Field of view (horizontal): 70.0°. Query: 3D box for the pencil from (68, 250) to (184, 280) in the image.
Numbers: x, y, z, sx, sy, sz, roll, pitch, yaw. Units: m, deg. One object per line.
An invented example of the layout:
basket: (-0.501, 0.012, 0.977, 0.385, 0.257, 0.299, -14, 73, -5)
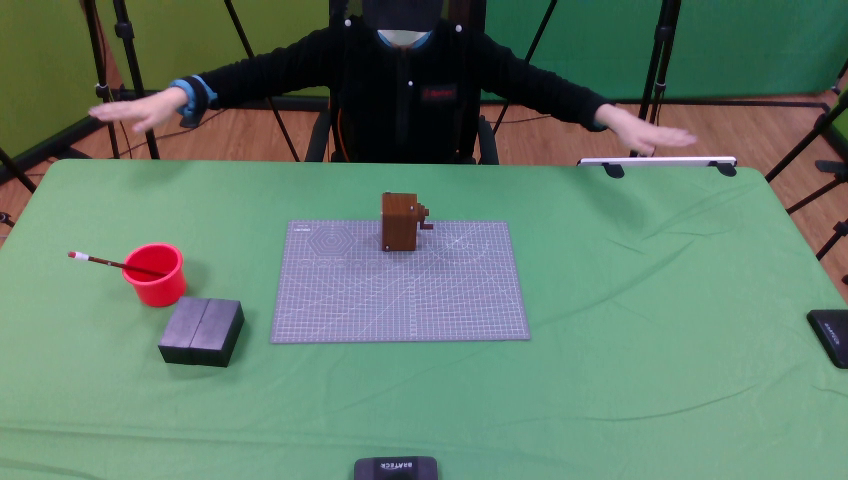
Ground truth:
pencil: (-0.498, 0.046, 1.026, 0.195, 0.012, 0.012, 21, 29, -45)

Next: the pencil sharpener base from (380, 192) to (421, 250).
pencil sharpener base: (-0.046, -0.035, 1.163, 0.077, 0.107, 0.061, 0, 46, -4)

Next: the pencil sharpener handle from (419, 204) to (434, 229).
pencil sharpener handle: (0.006, -0.045, 1.160, 0.031, 0.068, 0.036, 0, 52, -4)
